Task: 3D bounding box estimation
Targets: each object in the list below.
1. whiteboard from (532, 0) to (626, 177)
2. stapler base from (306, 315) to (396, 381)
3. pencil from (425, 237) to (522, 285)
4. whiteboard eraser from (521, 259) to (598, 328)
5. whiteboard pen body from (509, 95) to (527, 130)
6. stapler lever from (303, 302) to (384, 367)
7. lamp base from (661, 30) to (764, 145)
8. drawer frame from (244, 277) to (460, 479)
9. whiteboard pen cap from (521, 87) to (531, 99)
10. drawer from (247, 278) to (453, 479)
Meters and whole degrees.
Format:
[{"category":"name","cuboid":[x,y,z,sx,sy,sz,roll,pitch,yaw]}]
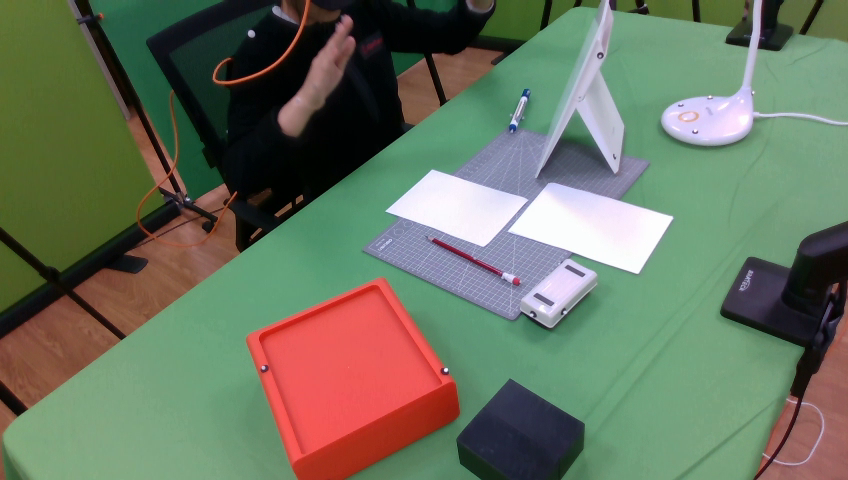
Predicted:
[{"category":"whiteboard","cuboid":[0.321,-0.258,1.050,0.144,0.306,0.217,21,45,5]},{"category":"stapler base","cuboid":[-0.101,0.139,0.819,0.131,0.024,0.041,-31,37,-13]},{"category":"pencil","cuboid":[0.071,0.029,0.941,0.192,0.012,0.012,26,51,37]},{"category":"whiteboard eraser","cuboid":[0.189,0.076,0.843,0.055,0.042,0.113,29,53,37]},{"category":"whiteboard pen body","cuboid":[0.199,-0.273,1.261,0.017,0.017,0.140,8,44,19]},{"category":"stapler lever","cuboid":[-0.108,0.124,0.805,0.118,0.040,0.026,-27,36,-15]},{"category":"lamp base","cuboid":[0.535,-0.287,1.096,0.179,0.181,0.159,-10,40,-4]},{"category":"drawer frame","cuboid":[-0.093,0.167,0.755,0.202,0.083,0.211,-23,43,-17]},{"category":"whiteboard pen cap","cuboid":[0.219,-0.313,1.301,0.018,0.018,0.033,7,47,18]},{"category":"drawer","cuboid":[-0.096,0.167,0.758,0.195,0.073,0.210,-22,43,-16]}]
